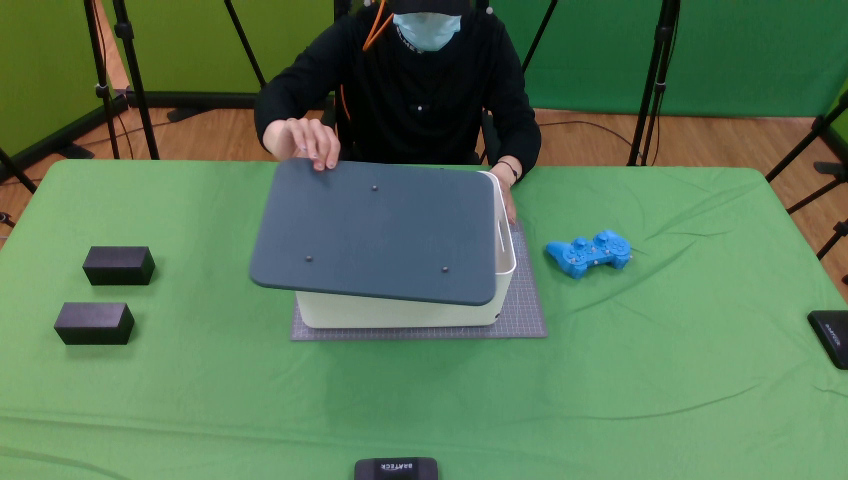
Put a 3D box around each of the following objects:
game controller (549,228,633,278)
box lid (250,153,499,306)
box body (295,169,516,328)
[{"bbox_3d":[0.332,0.016,1.182,0.155,0.052,0.096,-12,52,-13],"label":"game controller"},{"bbox_3d":[-0.065,-0.024,0.950,0.372,0.015,0.261,5,55,-2],"label":"box lid"},{"bbox_3d":[-0.040,0.015,1.075,0.364,0.161,0.252,-1,47,-4],"label":"box body"}]
